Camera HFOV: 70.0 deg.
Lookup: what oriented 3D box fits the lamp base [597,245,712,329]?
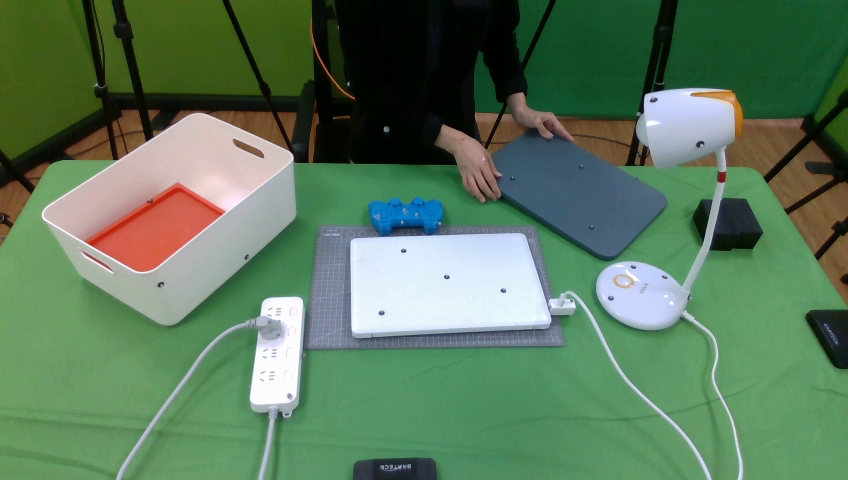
[{"bbox_3d":[0.418,0.051,1.072,0.179,0.181,0.160,22,49,13],"label":"lamp base"}]

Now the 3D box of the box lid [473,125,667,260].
[{"bbox_3d":[0.320,-0.116,1.329,0.370,0.015,0.263,36,55,24],"label":"box lid"}]

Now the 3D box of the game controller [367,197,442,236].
[{"bbox_3d":[-0.037,-0.057,1.231,0.155,0.052,0.096,-2,49,-5],"label":"game controller"}]

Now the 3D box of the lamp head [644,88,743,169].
[{"bbox_3d":[0.380,-0.161,0.851,0.122,0.113,0.112,-4,42,25],"label":"lamp head"}]

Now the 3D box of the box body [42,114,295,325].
[{"bbox_3d":[-0.437,-0.046,1.110,0.253,0.161,0.363,24,49,19],"label":"box body"}]

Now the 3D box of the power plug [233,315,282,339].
[{"bbox_3d":[-0.271,0.144,1.000,0.072,0.053,0.035,6,47,3],"label":"power plug"}]

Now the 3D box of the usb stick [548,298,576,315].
[{"bbox_3d":[0.240,0.120,1.086,0.059,0.027,0.021,-2,51,-2],"label":"usb stick"}]

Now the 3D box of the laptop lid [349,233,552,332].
[{"bbox_3d":[0.040,0.071,1.118,0.357,0.013,0.240,-1,44,-5],"label":"laptop lid"}]

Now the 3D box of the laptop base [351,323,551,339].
[{"bbox_3d":[0.040,0.080,1.125,0.355,0.023,0.234,-2,43,-6],"label":"laptop base"}]

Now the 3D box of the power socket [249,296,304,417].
[{"bbox_3d":[-0.239,0.182,0.996,0.072,0.033,0.225,-2,47,-5],"label":"power socket"}]
